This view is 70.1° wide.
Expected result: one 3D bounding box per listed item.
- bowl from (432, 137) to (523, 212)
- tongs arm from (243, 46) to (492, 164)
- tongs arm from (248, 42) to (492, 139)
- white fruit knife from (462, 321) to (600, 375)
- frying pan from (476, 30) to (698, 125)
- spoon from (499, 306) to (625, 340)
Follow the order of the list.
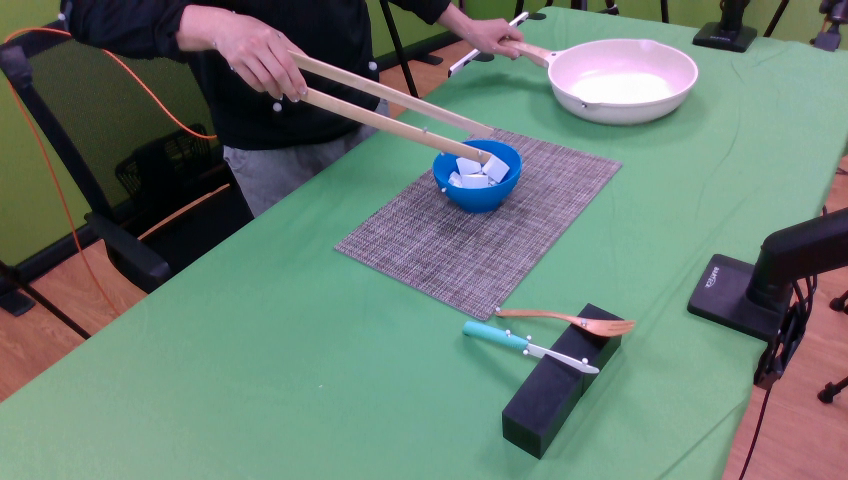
[{"bbox_3d":[0.091,-0.100,1.022,0.151,0.077,0.150,-4,41,4],"label":"bowl"},{"bbox_3d":[-0.074,-0.193,0.894,0.387,0.026,0.050,15,54,-19],"label":"tongs arm"},{"bbox_3d":[-0.072,-0.220,0.914,0.390,0.027,0.028,16,57,-18],"label":"tongs arm"},{"bbox_3d":[0.126,0.132,0.752,0.205,0.027,0.016,12,47,42],"label":"white fruit knife"},{"bbox_3d":[0.321,-0.371,1.290,0.484,0.103,0.307,29,51,24],"label":"frying pan"},{"bbox_3d":[0.169,0.102,0.773,0.042,0.021,0.192,-10,13,-38],"label":"spoon"}]
